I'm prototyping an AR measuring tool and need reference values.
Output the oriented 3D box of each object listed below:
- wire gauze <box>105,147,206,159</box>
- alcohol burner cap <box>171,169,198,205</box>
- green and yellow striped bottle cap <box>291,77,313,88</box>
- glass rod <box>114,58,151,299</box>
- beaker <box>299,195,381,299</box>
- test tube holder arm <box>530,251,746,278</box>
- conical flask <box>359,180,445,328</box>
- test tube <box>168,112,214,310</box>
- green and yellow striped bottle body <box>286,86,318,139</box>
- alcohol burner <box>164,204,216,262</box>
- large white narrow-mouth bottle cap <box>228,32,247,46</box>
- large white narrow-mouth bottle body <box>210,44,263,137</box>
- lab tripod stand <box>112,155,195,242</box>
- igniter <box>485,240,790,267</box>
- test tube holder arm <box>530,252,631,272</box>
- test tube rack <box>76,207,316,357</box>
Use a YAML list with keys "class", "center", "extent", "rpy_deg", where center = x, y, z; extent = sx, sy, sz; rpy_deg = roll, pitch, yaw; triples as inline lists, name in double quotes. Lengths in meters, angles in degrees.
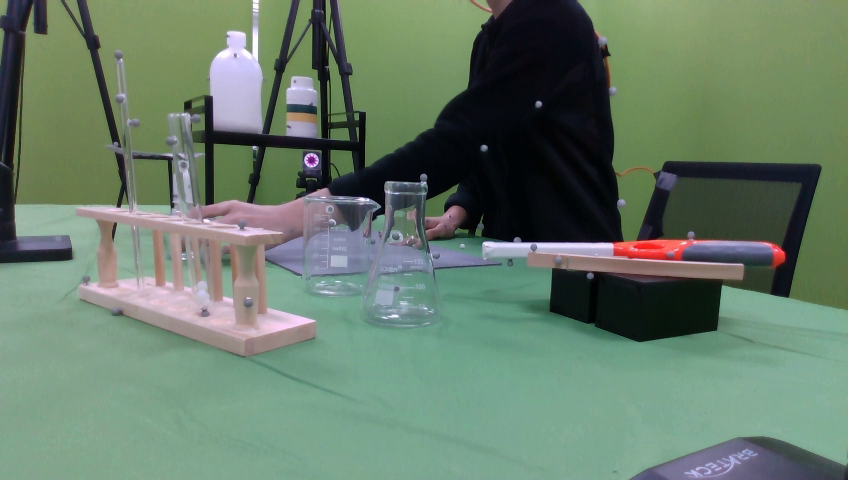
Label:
- class: "wire gauze"
  center: [-0.408, -0.131, 0.928]
  extent: [0.125, 0.011, 0.121]
  rpy_deg: [2, 6, -11]
- class: "alcohol burner cap"
  center: [-0.310, -0.068, 0.782]
  extent: [0.034, 0.048, 0.034]
  rpy_deg: [1, 9, 0]
- class: "green and yellow striped bottle cap"
  center: [-0.250, -0.321, 1.237]
  extent: [0.045, 0.020, 0.045]
  rpy_deg: [3, 5, 0]
- class: "glass rod"
  center: [-0.236, -0.044, 0.492]
  extent: [0.008, 0.199, 0.008]
  rpy_deg: [0, 15, 0]
- class: "beaker"
  center: [-0.087, 0.006, 0.626]
  extent: [0.084, 0.100, 0.074]
  rpy_deg: [1, 8, -17]
- class: "test tube holder arm"
  center: [0.182, 0.022, 0.524]
  extent: [0.178, 0.015, 0.013]
  rpy_deg: [3, 6, 11]
- class: "conical flask"
  center: [-0.017, 0.010, 0.522]
  extent: [0.075, 0.122, 0.075]
  rpy_deg: [2, 7, 0]
- class: "test tube"
  center: [-0.175, -0.020, 0.455]
  extent: [0.017, 0.150, 0.017]
  rpy_deg: [-4, 9, 1]
- class: "green and yellow striped bottle body"
  center: [-0.251, -0.270, 1.245]
  extent: [0.063, 0.119, 0.063]
  rpy_deg: [2, 7, 0]
- class: "alcohol burner"
  center: [-0.311, -0.033, 0.789]
  extent: [0.078, 0.119, 0.078]
  rpy_deg: [0, 9, 0]
- class: "large white narrow-mouth bottle cap"
  center: [-0.364, -0.390, 1.180]
  extent: [0.038, 0.024, 0.037]
  rpy_deg: [4, 8, 0]
- class: "large white narrow-mouth bottle body"
  center: [-0.369, -0.305, 1.194]
  extent: [0.102, 0.194, 0.102]
  rpy_deg: [3, 8, 0]
- class: "lab tripod stand"
  center: [-0.405, -0.064, 0.931]
  extent: [0.148, 0.131, 0.148]
  rpy_deg: [1, 6, 0]
- class: "igniter"
  center: [0.197, 0.012, 0.585]
  extent: [0.276, 0.025, 0.057]
  rpy_deg: [1, 5, 12]
- class: "test tube holder arm"
  center: [0.139, 0.019, 0.538]
  extent: [0.087, 0.015, 0.010]
  rpy_deg: [3, 6, 13]
- class: "test tube rack"
  center: [-0.196, 0.023, 0.500]
  extent: [0.241, 0.085, 0.067]
  rpy_deg: [7, 9, 36]
